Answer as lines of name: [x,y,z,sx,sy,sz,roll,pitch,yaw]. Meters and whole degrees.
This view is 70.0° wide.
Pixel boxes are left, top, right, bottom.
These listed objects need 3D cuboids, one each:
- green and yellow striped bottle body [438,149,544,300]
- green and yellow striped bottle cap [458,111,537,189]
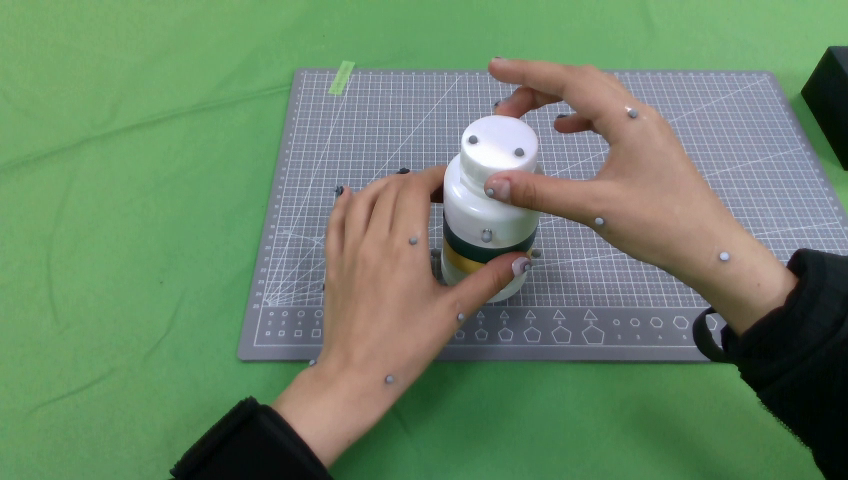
green and yellow striped bottle body: [0.041,-0.017,0.390,0.063,0.121,0.062,0,54,0]
green and yellow striped bottle cap: [0.042,-0.052,0.344,0.045,0.020,0.045,-1,58,1]
